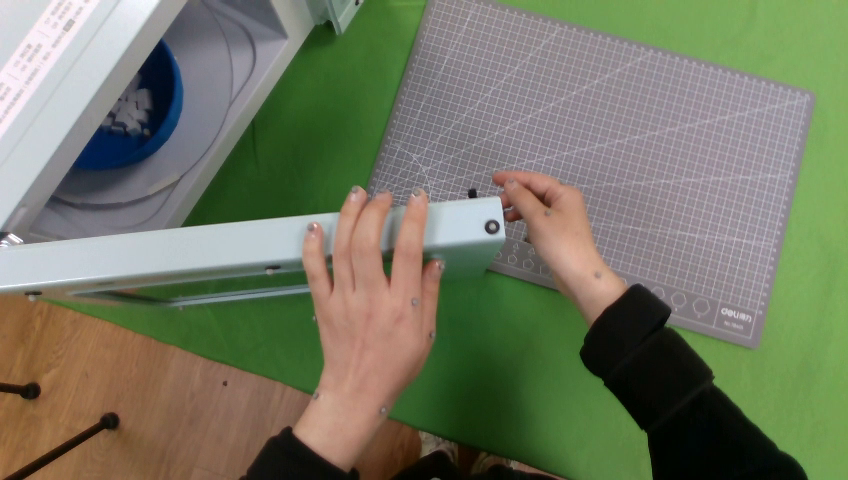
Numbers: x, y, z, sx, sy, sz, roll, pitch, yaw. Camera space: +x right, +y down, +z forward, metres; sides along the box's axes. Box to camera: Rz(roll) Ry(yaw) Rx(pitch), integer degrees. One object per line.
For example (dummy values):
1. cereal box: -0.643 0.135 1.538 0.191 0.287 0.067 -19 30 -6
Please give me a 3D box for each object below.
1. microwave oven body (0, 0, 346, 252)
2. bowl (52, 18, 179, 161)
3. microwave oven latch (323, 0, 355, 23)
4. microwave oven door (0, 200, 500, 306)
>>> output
1. microwave oven body: -0.304 -0.220 0.563 0.325 0.261 0.441 31 84 4
2. bowl: -0.300 -0.139 0.583 0.151 0.077 0.150 0 79 3
3. microwave oven latch: -0.084 -0.281 0.666 0.030 0.029 0.079 32 84 4
4. microwave oven door: -0.121 0.017 0.524 0.356 0.244 0.039 -6 81 0
